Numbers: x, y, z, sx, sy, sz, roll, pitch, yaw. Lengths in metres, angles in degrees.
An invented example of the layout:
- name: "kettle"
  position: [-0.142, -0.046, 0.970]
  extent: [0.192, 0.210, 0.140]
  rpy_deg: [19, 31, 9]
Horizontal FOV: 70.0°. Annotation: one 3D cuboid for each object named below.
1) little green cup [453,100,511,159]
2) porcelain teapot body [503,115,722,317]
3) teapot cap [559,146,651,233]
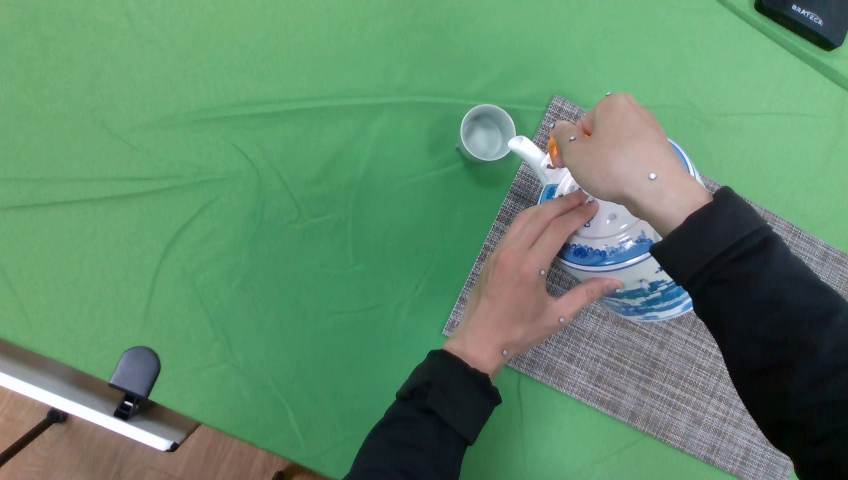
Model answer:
- name: "little green cup"
  position: [0.061, -0.118, 0.661]
  extent: [0.062, 0.038, 0.061]
  rpy_deg: [1, 86, -9]
- name: "porcelain teapot body"
  position: [0.158, -0.040, 0.574]
  extent: [0.145, 0.203, 0.228]
  rpy_deg: [-53, 134, 0]
- name: "teapot cap"
  position: [0.153, -0.047, 0.524]
  extent: [0.044, 0.084, 0.085]
  rpy_deg: [38, 80, -42]
